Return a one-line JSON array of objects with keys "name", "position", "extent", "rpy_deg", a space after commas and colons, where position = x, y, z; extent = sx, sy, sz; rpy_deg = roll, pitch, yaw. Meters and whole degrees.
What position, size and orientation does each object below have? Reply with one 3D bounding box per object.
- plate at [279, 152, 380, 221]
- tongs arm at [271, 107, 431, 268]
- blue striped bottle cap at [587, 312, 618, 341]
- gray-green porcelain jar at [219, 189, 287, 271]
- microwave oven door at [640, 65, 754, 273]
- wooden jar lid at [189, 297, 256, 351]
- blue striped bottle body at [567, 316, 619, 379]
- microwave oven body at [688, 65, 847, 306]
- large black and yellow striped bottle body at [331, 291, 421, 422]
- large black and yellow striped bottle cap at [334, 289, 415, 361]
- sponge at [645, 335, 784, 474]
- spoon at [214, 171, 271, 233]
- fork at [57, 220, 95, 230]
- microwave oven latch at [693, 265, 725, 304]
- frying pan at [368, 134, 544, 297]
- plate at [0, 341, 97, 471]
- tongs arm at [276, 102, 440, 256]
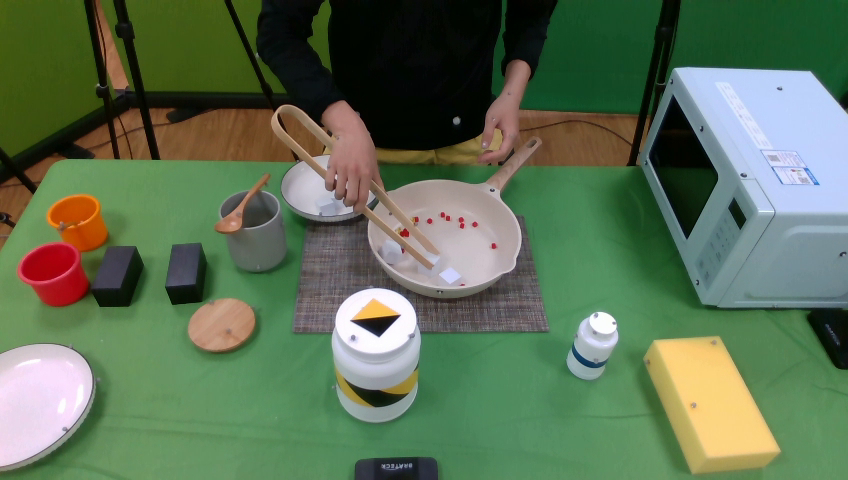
[{"name": "plate", "position": [-0.196, -0.107, 1.269], "extent": [0.208, 0.039, 0.206], "rpy_deg": [2, 45, -2]}, {"name": "tongs arm", "position": [-0.127, -0.084, 1.073], "extent": [0.388, 0.028, 0.028], "rpy_deg": [44, 61, -13]}, {"name": "blue striped bottle cap", "position": [0.279, 0.134, 0.946], "extent": [0.044, 0.021, 0.044], "rpy_deg": [2, 45, -2]}, {"name": "gray-green porcelain jar", "position": [-0.309, -0.014, 1.113], "extent": [0.106, 0.127, 0.105], "rpy_deg": [2, 46, -2]}, {"name": "microwave oven door", "position": [0.522, -0.147, 1.193], "extent": [0.039, 0.245, 0.353], "rpy_deg": [0, 47, -3]}, {"name": "wooden jar lid", "position": [-0.342, 0.145, 1.033], "extent": [0.108, 0.021, 0.107], "rpy_deg": [2, 45, -2]}, {"name": "blue striped bottle body", "position": [0.276, 0.168, 0.984], "extent": [0.063, 0.121, 0.062], "rpy_deg": [2, 46, -2]}, {"name": "microwave oven body", "position": [0.669, -0.111, 1.176], "extent": [0.326, 0.261, 0.439], "rpy_deg": [0, 46, -3]}, {"name": "large black and yellow striped bottle body", "position": [-0.071, 0.175, 0.911], "extent": [0.131, 0.185, 0.130], "rpy_deg": [2, 47, -2]}, {"name": "large black and yellow striped bottle cap", "position": [-0.069, 0.117, 0.850], "extent": [0.115, 0.019, 0.114], "rpy_deg": [2, 45, -2]}, {"name": "sponge", "position": [0.449, 0.253, 0.956], "extent": [0.118, 0.061, 0.205], "rpy_deg": [-4, 46, -7]}, {"name": "spoon", "position": [-0.312, -0.070, 1.070], "extent": [0.041, 0.022, 0.193], "rpy_deg": [10, 43, 9]}, {"name": "fork", "position": [-0.624, -0.027, 1.086], "extent": [0.028, 0.207, 0.018], "rpy_deg": [-2, 91, -17]}, {"name": "microwave oven latch", "position": [0.523, 0.081, 1.116], "extent": [0.030, 0.029, 0.078], "rpy_deg": [2, 46, -1]}, {"name": "frying pan", "position": [0.104, -0.069, 1.205], "extent": [0.305, 0.103, 0.487], "rpy_deg": [33, 61, 23]}, {"name": "plate", "position": [-0.599, 0.247, 0.904], "extent": [0.209, 0.038, 0.208], "rpy_deg": [2, 47, -2]}, {"name": "tongs arm", "position": [-0.115, -0.100, 1.085], "extent": [0.385, 0.026, 0.050], "rpy_deg": [48, 57, -10]}]
